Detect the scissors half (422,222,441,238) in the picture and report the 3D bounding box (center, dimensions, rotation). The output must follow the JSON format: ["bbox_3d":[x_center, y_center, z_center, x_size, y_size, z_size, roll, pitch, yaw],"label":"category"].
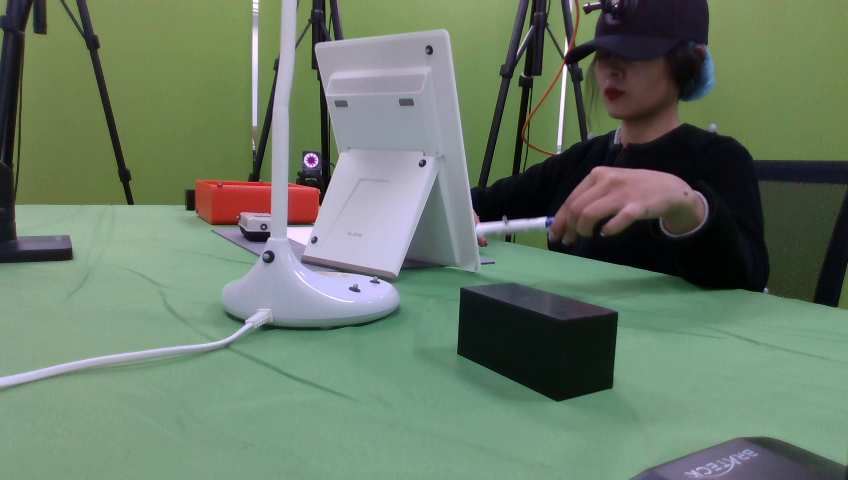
[{"bbox_3d":[0.013,-0.018,1.217,0.040,0.013,0.175,14,9,1],"label":"scissors half"}]

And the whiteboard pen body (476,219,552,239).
[{"bbox_3d":[0.116,-0.014,0.736,0.017,0.017,0.140,-5,0,-45],"label":"whiteboard pen body"}]

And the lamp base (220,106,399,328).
[{"bbox_3d":[-0.102,-0.023,0.531,0.160,0.180,0.179,4,10,10],"label":"lamp base"}]

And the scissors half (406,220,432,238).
[{"bbox_3d":[-0.006,-0.022,1.215,0.040,0.013,0.174,6,10,-15],"label":"scissors half"}]

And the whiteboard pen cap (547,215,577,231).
[{"bbox_3d":[0.157,-0.019,0.694,0.033,0.018,0.018,-4,1,42],"label":"whiteboard pen cap"}]

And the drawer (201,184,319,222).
[{"bbox_3d":[-0.353,-0.082,1.295,0.213,0.073,0.193,-2,9,-28],"label":"drawer"}]

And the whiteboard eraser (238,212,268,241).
[{"bbox_3d":[-0.272,-0.024,0.998,0.056,0.042,0.112,-2,9,-24],"label":"whiteboard eraser"}]

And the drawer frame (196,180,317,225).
[{"bbox_3d":[-0.359,-0.083,1.292,0.215,0.082,0.200,-2,10,-30],"label":"drawer frame"}]

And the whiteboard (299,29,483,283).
[{"bbox_3d":[-0.074,-0.082,0.742,0.216,0.305,0.144,9,29,38],"label":"whiteboard"}]
